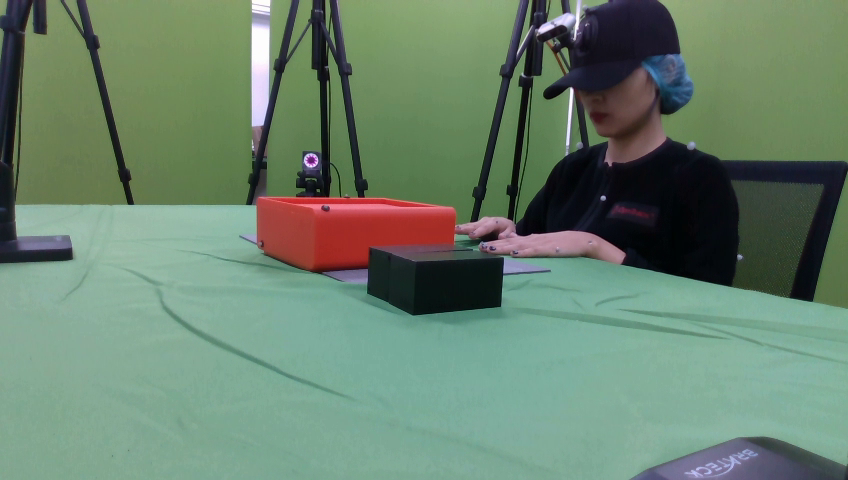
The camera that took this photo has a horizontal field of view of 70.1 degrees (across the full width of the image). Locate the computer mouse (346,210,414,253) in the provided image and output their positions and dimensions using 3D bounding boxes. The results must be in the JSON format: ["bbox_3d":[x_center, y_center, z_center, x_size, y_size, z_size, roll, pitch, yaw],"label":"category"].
[{"bbox_3d":[-0.063,-0.014,0.852,0.063,0.041,0.116,0,21,-31],"label":"computer mouse"}]

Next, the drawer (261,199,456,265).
[{"bbox_3d":[-0.094,-0.017,0.844,0.213,0.073,0.193,-3,10,-34],"label":"drawer"}]

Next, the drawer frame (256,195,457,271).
[{"bbox_3d":[-0.097,-0.017,0.843,0.215,0.082,0.200,-4,10,-35],"label":"drawer frame"}]
